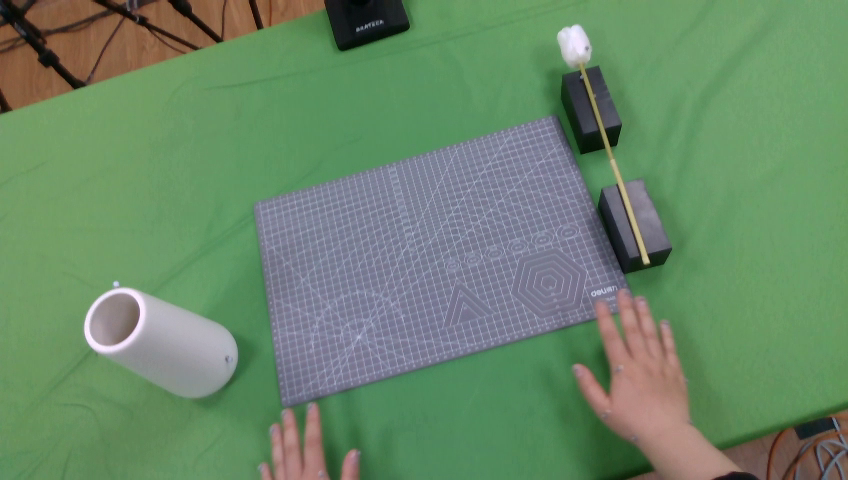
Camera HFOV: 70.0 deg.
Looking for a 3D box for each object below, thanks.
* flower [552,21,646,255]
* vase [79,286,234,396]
[{"bbox_3d":[0.223,-0.141,0.768,0.044,0.038,0.358,4,60,-23],"label":"flower"},{"bbox_3d":[-0.297,0.116,0.693,0.098,0.201,0.097,-3,66,7],"label":"vase"}]
